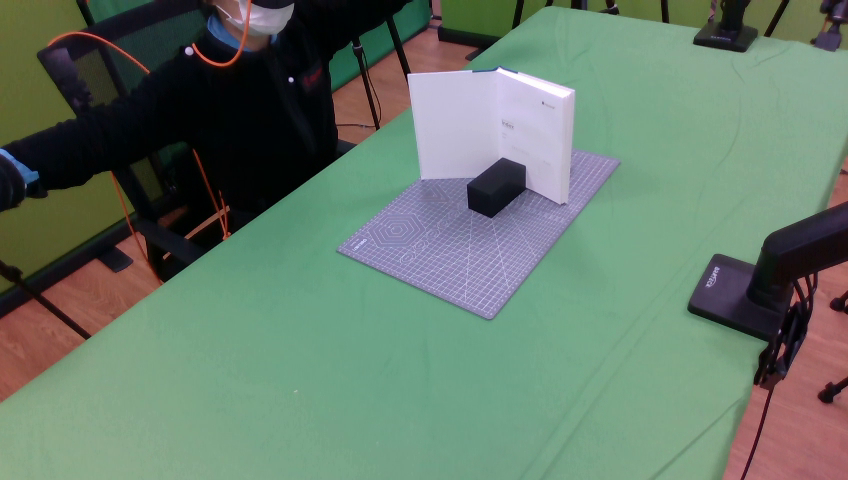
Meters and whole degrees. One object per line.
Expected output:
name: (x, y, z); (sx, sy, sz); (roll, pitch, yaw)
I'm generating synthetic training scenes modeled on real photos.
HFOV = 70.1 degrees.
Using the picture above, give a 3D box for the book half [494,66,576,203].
book half: (0.179, -0.167, 0.988); (0.016, 0.211, 0.147); (-36, 48, -28)

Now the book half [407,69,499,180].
book half: (0.054, -0.191, 1.034); (0.143, 0.211, 0.007); (-2, 42, 7)
